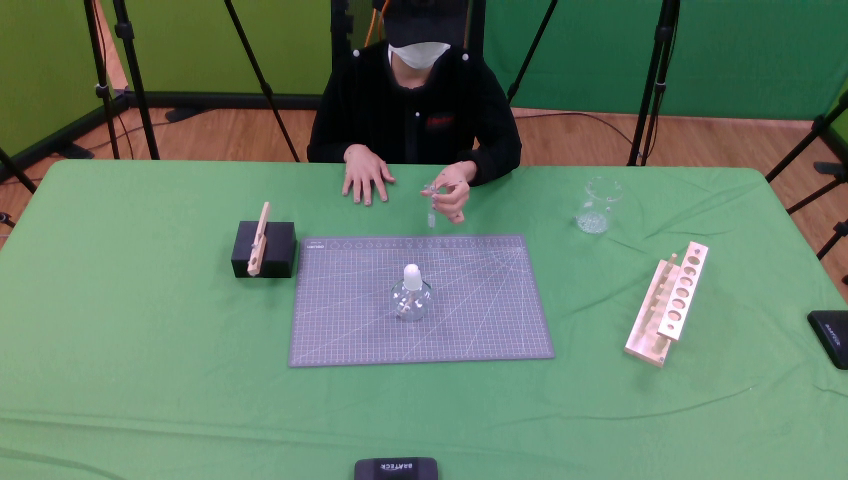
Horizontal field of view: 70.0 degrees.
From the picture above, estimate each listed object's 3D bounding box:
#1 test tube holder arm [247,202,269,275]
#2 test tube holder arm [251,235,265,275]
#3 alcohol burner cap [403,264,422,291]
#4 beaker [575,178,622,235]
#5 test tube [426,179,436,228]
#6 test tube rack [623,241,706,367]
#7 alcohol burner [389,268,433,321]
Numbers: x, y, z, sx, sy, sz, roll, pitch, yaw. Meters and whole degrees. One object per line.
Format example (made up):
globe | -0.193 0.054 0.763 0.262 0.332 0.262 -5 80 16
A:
test tube holder arm | -0.304 -0.006 1.116 0.013 0.015 0.177 -6 46 2
test tube holder arm | -0.297 0.025 1.085 0.010 0.015 0.087 -5 46 2
alcohol burner cap | -0.021 0.060 1.021 0.034 0.048 0.033 -2 46 2
beaker | 0.356 -0.068 1.240 0.084 0.101 0.073 -18 50 -21
test tube | 0.012 -0.064 1.122 0.017 0.151 0.017 0 60 0
test tube rack | 0.435 0.104 1.089 0.066 0.085 0.242 24 49 19
alcohol burner | -0.023 0.085 1.046 0.078 0.119 0.077 2 48 -2
